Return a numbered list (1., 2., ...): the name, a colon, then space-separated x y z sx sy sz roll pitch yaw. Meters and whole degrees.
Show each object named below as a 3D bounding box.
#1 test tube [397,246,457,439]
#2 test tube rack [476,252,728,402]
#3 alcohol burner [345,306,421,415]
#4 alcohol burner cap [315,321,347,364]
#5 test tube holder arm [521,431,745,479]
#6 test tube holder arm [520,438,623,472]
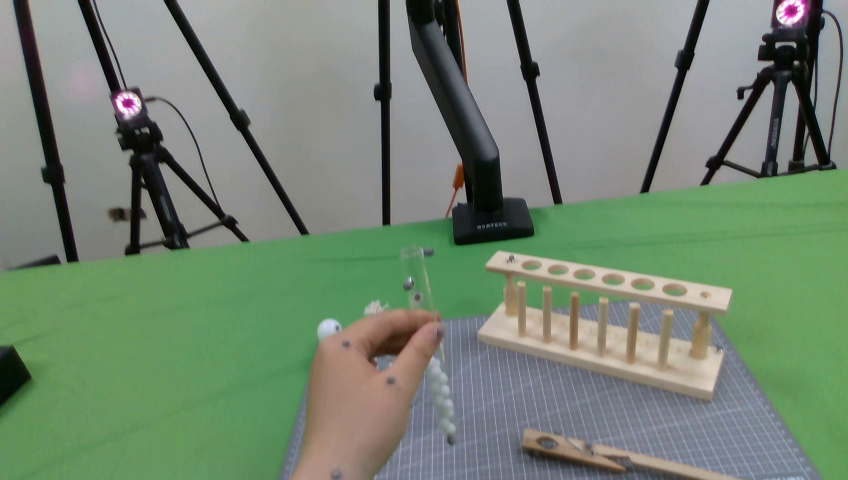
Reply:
1. test tube: 0.003 0.074 0.414 0.017 0.151 0.017 -10 21 4
2. test tube rack: 0.172 0.082 0.625 0.240 0.086 0.066 9 33 31
3. alcohol burner: -0.043 0.114 0.598 0.078 0.120 0.077 -6 30 3
4. alcohol burner cap: -0.108 0.114 0.693 0.034 0.048 0.033 -6 29 4
5. test tube holder arm: 0.169 0.183 0.505 0.177 0.015 0.013 4 65 22
6. test tube holder arm: 0.126 0.185 0.520 0.087 0.015 0.010 5 65 22
